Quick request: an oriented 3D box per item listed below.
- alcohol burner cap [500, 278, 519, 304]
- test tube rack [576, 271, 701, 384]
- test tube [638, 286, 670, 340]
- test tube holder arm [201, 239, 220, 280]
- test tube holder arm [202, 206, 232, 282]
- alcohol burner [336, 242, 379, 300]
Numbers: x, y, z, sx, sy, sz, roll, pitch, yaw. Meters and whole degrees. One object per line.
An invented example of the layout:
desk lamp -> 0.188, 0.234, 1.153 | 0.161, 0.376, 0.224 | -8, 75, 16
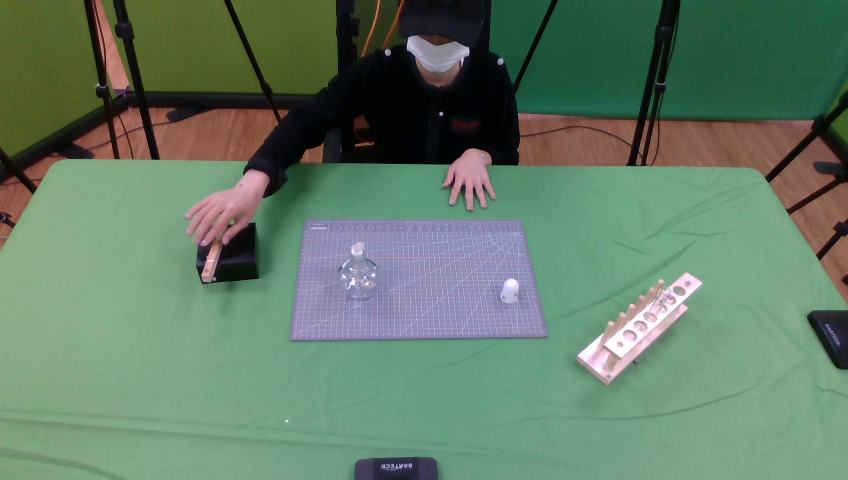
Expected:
alcohol burner cap -> 0.157, 0.090, 1.104 | 0.034, 0.048, 0.033 | 2, 46, -2
test tube rack -> 0.373, 0.138, 1.047 | 0.242, 0.085, 0.066 | -31, 55, -29
test tube -> 0.373, 0.123, 0.994 | 0.017, 0.151, 0.017 | 0, 51, 0
test tube holder arm -> -0.374, 0.033, 1.064 | 0.015, 0.010, 0.087 | 1, 46, -1
test tube holder arm -> -0.374, 0.004, 1.099 | 0.015, 0.013, 0.177 | 1, 47, -1
alcohol burner -> -0.118, 0.050, 1.072 | 0.078, 0.120, 0.077 | 2, 44, -1
